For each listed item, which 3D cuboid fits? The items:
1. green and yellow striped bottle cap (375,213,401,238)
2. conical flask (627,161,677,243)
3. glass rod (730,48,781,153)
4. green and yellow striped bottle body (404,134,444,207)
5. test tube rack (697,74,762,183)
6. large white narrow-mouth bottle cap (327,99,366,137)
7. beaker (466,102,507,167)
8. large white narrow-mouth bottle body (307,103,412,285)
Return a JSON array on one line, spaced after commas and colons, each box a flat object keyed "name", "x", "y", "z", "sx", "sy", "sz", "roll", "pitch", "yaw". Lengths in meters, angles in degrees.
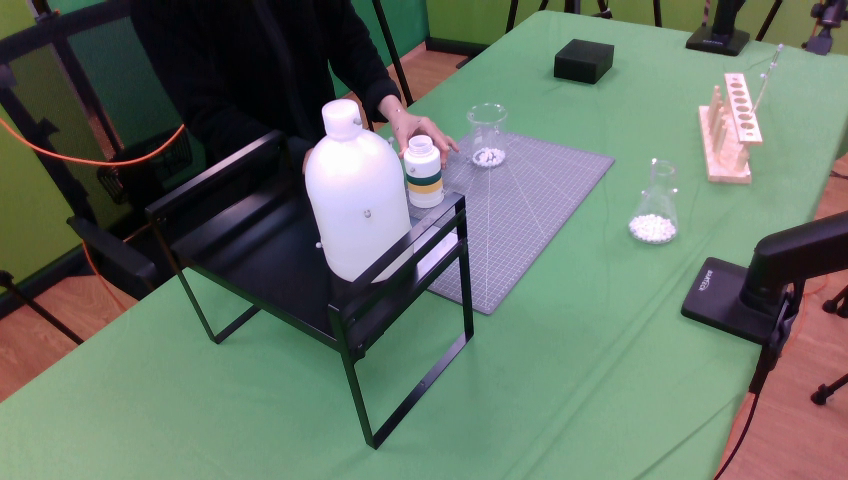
[{"name": "green and yellow striped bottle cap", "x": -0.061, "y": -0.025, "z": 1.015, "sx": 0.045, "sy": 0.020, "sz": 0.045, "roll": -3, "pitch": 41, "yaw": 3}, {"name": "conical flask", "x": 0.355, "y": -0.061, "z": 0.921, "sx": 0.075, "sy": 0.122, "sz": 0.075, "roll": -4, "pitch": 41, "yaw": 4}, {"name": "glass rod", "x": 0.554, "y": -0.228, "z": 1.015, "sx": 0.008, "sy": 0.200, "sz": 0.008, "roll": 1, "pitch": 44, "yaw": -1}, {"name": "green and yellow striped bottle body", "x": -0.001, "y": -0.120, "z": 1.038, "sx": 0.063, "sy": 0.120, "sz": 0.063, "roll": -4, "pitch": 41, "yaw": 4}, {"name": "test tube rack", "x": 0.547, "y": -0.208, "z": 1.095, "sx": 0.066, "sy": 0.085, "sz": 0.242, "roll": 5, "pitch": 42, "yaw": 15}, {"name": "large white narrow-mouth bottle cap", "x": -0.075, "y": -0.117, "z": 0.582, "sx": 0.038, "sy": 0.024, "sz": 0.037, "roll": -3, "pitch": 40, "yaw": 3}, {"name": "beaker", "x": 0.121, "y": -0.195, "z": 1.124, "sx": 0.084, "sy": 0.101, "sz": 0.073, "roll": -34, "pitch": 48, "yaw": -28}, {"name": "large white narrow-mouth bottle body", "x": -0.070, "y": -0.051, "z": 0.638, "sx": 0.102, "sy": 0.195, "sz": 0.101, "roll": -3, "pitch": 40, "yaw": 3}]
